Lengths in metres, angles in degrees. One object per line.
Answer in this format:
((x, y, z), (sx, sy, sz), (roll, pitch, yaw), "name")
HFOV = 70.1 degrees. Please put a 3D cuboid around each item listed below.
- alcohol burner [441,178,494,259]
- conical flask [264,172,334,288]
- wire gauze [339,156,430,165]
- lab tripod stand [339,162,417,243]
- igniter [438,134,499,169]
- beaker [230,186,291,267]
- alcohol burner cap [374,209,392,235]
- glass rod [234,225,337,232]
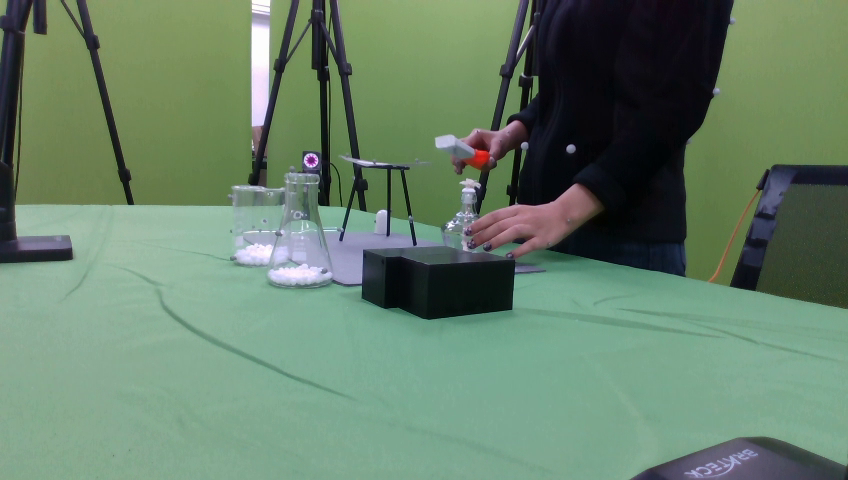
((0.065, -0.032, 0.886), (0.078, 0.119, 0.078), (4, 6, 0), "alcohol burner")
((-0.136, -0.013, 0.660), (0.075, 0.122, 0.075), (2, 7, 0), "conical flask")
((-0.067, -0.132, 1.022), (0.122, 0.011, 0.124), (-1, 9, -31), "wire gauze")
((-0.067, -0.065, 1.027), (0.148, 0.131, 0.148), (4, 7, 0), "lab tripod stand")
((0.083, -0.151, 1.058), (0.057, 0.025, 0.277), (-6, -3, 20), "igniter")
((-0.209, -0.019, 0.778), (0.074, 0.100, 0.084), (3, 6, 4), "beaker")
((-0.078, -0.036, 1.148), (0.034, 0.048, 0.034), (2, 7, 0), "alcohol burner cap")
((-0.256, -0.023, 1.136), (0.201, 0.008, 0.008), (-3, 9, -33), "glass rod")
